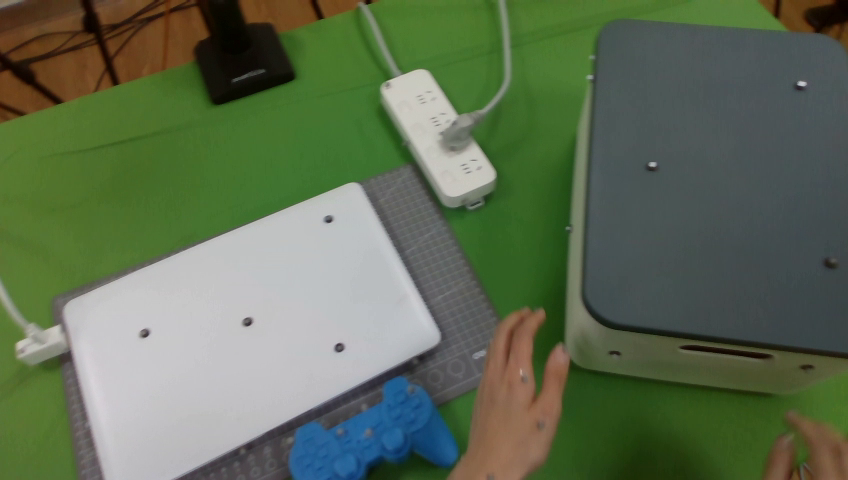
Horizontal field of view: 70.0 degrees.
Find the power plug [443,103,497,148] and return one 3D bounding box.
[{"bbox_3d":[0.059,-0.134,0.749,0.072,0.053,0.035,-13,60,-7],"label":"power plug"}]

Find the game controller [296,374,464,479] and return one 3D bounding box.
[{"bbox_3d":[-0.047,0.196,0.585,0.155,0.052,0.096,-24,60,-12],"label":"game controller"}]

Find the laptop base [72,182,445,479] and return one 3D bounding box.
[{"bbox_3d":[-0.182,0.090,0.664,0.354,0.023,0.233,-25,67,-12],"label":"laptop base"}]

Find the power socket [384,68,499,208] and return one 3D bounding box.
[{"bbox_3d":[0.019,-0.136,0.777,0.072,0.033,0.224,-23,63,-12],"label":"power socket"}]

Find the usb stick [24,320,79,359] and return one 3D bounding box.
[{"bbox_3d":[-0.390,0.104,0.647,0.059,0.027,0.021,-21,57,-13],"label":"usb stick"}]

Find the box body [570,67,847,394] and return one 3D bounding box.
[{"bbox_3d":[0.293,-0.038,0.642,0.254,0.161,0.361,7,61,5],"label":"box body"}]

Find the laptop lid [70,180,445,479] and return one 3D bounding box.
[{"bbox_3d":[-0.182,0.086,0.653,0.357,0.013,0.239,-23,65,-11],"label":"laptop lid"}]

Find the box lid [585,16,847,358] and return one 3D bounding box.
[{"bbox_3d":[0.292,-0.076,0.578,0.263,0.015,0.368,7,62,5],"label":"box lid"}]
